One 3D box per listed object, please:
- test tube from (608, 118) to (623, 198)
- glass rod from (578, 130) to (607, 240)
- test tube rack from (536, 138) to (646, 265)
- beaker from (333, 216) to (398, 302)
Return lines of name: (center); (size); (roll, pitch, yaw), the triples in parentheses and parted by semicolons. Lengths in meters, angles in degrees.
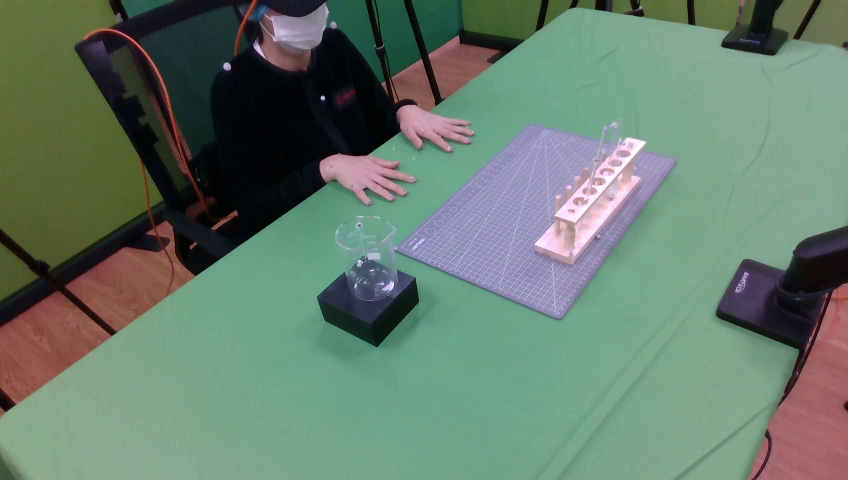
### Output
test tube: (0.299, -0.124, 0.945); (0.017, 0.151, 0.017); (-7, 44, 7)
glass rod: (0.241, -0.072, 0.866); (0.008, 0.200, 0.008); (0, 44, 1)
test tube rack: (0.268, -0.071, 0.964); (0.066, 0.085, 0.243); (23, 49, 32)
beaker: (-0.072, 0.028, 0.816); (0.084, 0.101, 0.073); (-11, 40, -5)
